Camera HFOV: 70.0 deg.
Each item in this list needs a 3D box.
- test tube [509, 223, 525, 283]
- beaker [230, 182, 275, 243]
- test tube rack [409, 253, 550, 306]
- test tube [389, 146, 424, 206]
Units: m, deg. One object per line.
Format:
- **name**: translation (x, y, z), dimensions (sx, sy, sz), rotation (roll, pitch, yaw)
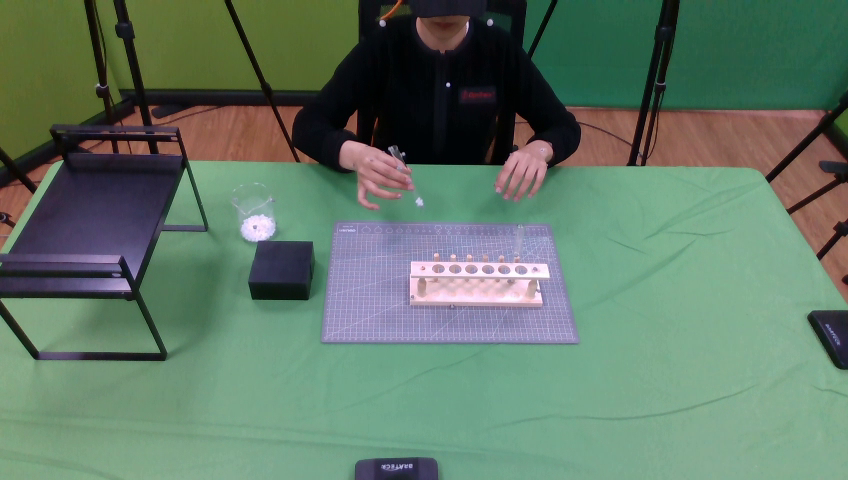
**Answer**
- **test tube**: translation (0.165, 0.024, 1.077), dimensions (0.017, 0.151, 0.017), rotation (0, 47, 1)
- **beaker**: translation (-0.328, -0.049, 1.166), dimensions (0.074, 0.101, 0.083), rotation (2, 47, -2)
- **test tube rack**: translation (0.095, 0.067, 1.093), dimensions (0.242, 0.085, 0.066), rotation (1, 47, -3)
- **test tube**: translation (-0.031, -0.117, 1.140), dimensions (0.017, 0.151, 0.017), rotation (-13, 47, 15)
